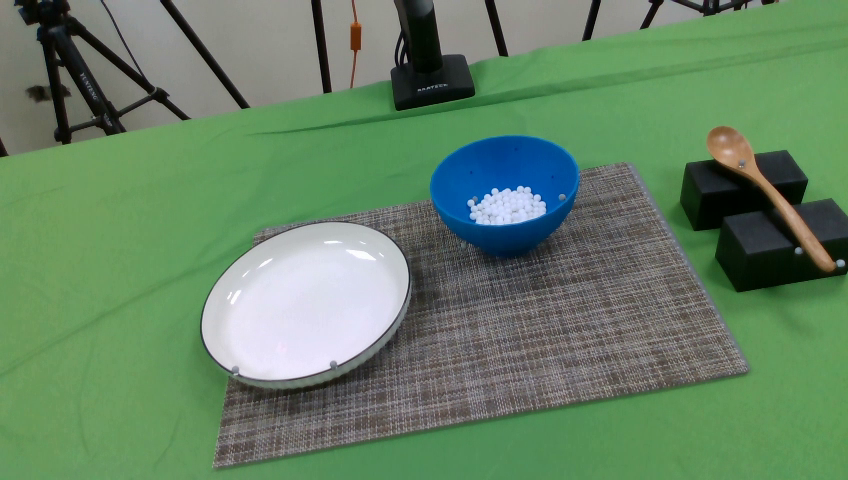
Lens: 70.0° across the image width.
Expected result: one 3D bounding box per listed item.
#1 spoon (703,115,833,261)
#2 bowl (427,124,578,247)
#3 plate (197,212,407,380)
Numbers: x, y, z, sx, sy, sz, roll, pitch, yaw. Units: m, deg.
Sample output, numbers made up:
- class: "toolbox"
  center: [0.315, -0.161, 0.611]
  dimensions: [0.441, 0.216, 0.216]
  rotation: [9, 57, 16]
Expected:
- class: "spoon"
  center: [0.314, -0.054, 0.559]
  dimensions: [0.041, 0.022, 0.191]
  rotation: [-13, 45, 1]
- class: "bowl"
  center: [0.083, -0.046, 0.629]
  dimensions: [0.151, 0.077, 0.150]
  rotation: [-6, 44, 7]
- class: "plate"
  center: [-0.117, 0.055, 0.603]
  dimensions: [0.207, 0.039, 0.205]
  rotation: [-6, 44, 7]
